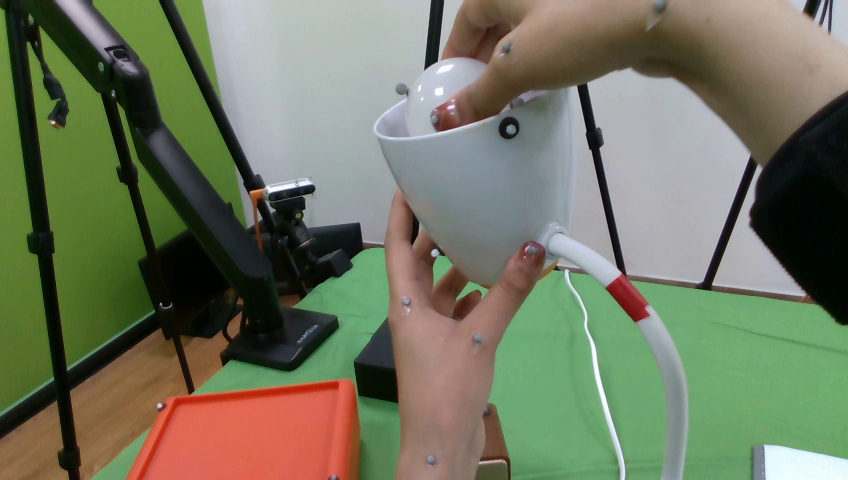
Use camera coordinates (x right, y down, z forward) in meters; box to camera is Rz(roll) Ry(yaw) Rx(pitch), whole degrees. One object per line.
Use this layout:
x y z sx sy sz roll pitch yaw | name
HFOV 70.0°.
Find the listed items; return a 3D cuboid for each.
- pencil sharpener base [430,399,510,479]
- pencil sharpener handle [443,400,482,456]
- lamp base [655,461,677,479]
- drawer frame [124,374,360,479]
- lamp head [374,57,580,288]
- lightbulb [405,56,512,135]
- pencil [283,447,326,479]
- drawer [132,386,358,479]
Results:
0.040 0.205 0.536 0.061 0.108 0.076 -5 25 -1 | pencil sharpener base
0.035 0.173 0.577 0.036 0.068 0.030 0 25 -4 | pencil sharpener handle
0.152 0.238 0.357 0.161 0.181 0.178 -7 22 -4 | lamp base
-0.164 0.226 0.553 0.202 0.083 0.212 -6 24 -2 | drawer frame
0.044 -0.033 0.356 0.112 0.124 0.111 -19 21 8 | lamp head
0.029 -0.052 0.348 0.059 0.109 0.059 -19 31 12 | lightbulb
-0.160 0.245 0.524 0.194 0.012 0.012 -37 38 -30 | pencil
-0.163 0.229 0.551 0.194 0.074 0.210 -6 24 -1 | drawer
